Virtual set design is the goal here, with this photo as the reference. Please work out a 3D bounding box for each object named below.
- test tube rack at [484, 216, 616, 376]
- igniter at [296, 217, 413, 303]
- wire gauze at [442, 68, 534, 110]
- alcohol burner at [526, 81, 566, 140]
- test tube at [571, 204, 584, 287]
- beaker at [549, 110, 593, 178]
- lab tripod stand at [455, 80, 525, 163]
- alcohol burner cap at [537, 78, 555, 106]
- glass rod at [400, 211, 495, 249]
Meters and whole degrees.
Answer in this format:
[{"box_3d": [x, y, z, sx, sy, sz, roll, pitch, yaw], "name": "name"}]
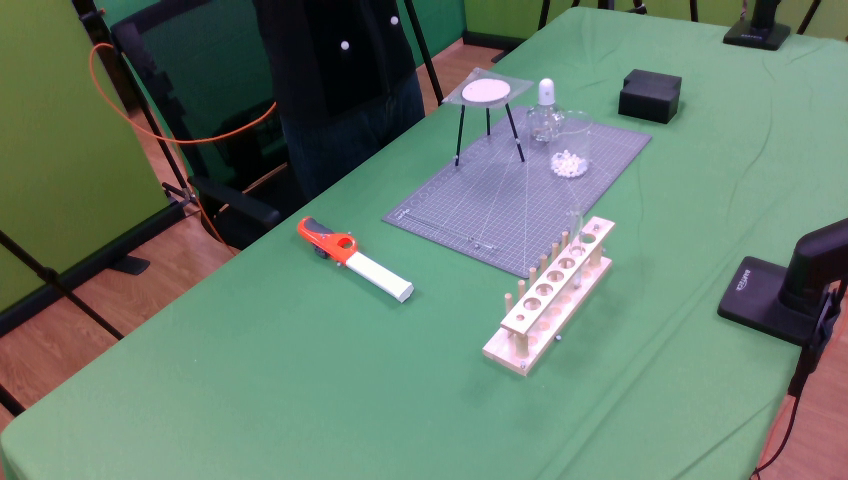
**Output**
[{"box_3d": [0.174, 0.064, 0.823, 0.066, 0.085, 0.243, 23, 49, 32], "name": "test tube rack"}, {"box_3d": [-0.121, 0.025, 0.970, 0.274, 0.025, 0.057, 29, 63, 37], "name": "igniter"}, {"box_3d": [0.114, -0.269, 1.081, 0.120, 0.011, 0.125, 21, 49, 29], "name": "wire gauze"}, {"box_3d": [0.234, -0.252, 1.159, 0.078, 0.119, 0.077, -4, 42, 4], "name": "alcohol burner"}, {"box_3d": [0.205, 0.011, 0.804, 0.017, 0.151, 0.017, -7, 45, 8], "name": "test tube"}, {"box_3d": [0.255, -0.165, 1.063, 0.084, 0.101, 0.073, -36, 46, -27], "name": "beaker"}, {"box_3d": [0.120, -0.219, 1.126, 0.148, 0.132, 0.147, -4, 40, 4], "name": "lab tripod stand"}, {"box_3d": [0.229, -0.280, 1.136, 0.034, 0.048, 0.033, -6, 33, 4], "name": "alcohol burner cap"}, {"box_3d": [0.035, -0.018, 1.001, 0.198, 0.008, 0.008, 21, 49, 35], "name": "glass rod"}]
